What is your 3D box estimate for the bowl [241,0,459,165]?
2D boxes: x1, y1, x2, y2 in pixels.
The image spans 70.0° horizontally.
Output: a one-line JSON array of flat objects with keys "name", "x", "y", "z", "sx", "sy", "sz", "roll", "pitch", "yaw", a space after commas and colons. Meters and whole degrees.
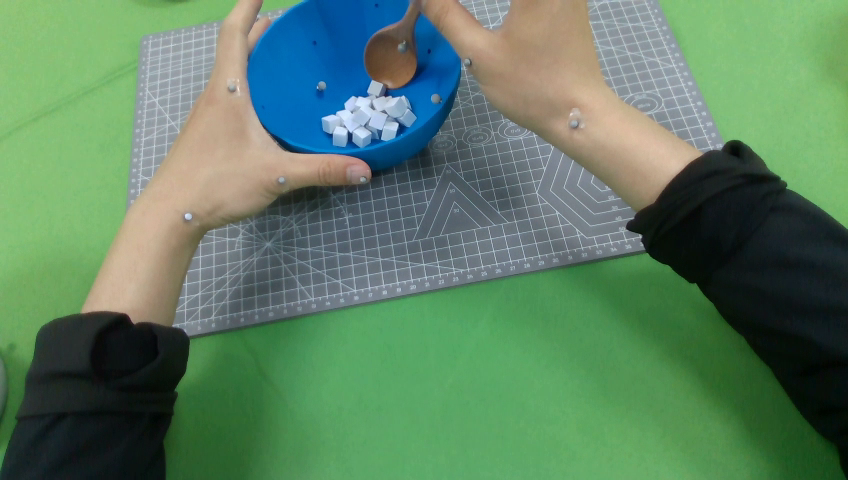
[{"name": "bowl", "x": -0.047, "y": -0.109, "z": 0.444, "sx": 0.151, "sy": 0.077, "sz": 0.150, "roll": -3, "pitch": 64, "yaw": 6}]

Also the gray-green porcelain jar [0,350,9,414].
[{"name": "gray-green porcelain jar", "x": -0.333, "y": 0.086, "z": 0.360, "sx": 0.106, "sy": 0.127, "sz": 0.105, "roll": -3, "pitch": 64, "yaw": 6}]

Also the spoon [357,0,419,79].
[{"name": "spoon", "x": -0.008, "y": -0.150, "z": 0.379, "sx": 0.042, "sy": 0.193, "sz": 0.021, "roll": 33, "pitch": 73, "yaw": -10}]
